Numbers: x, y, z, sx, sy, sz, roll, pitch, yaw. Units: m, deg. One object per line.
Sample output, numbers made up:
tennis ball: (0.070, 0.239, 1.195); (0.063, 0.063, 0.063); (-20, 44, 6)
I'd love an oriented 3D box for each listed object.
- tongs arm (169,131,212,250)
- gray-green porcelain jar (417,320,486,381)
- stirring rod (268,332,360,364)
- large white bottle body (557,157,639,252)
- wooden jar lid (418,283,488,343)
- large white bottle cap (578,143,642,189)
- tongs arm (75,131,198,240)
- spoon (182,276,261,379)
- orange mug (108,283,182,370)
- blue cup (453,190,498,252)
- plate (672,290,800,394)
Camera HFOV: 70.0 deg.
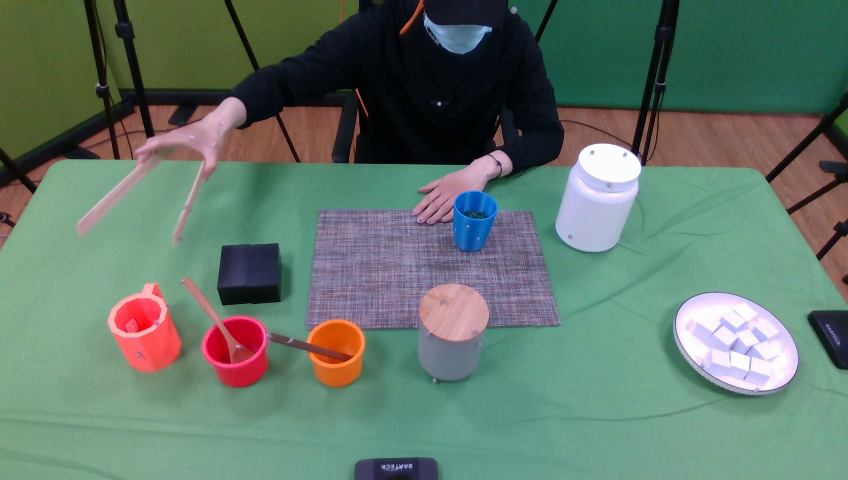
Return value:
tongs arm: (-0.429, -0.103, 1.095); (0.051, 0.026, 0.382); (3, 34, -7)
gray-green porcelain jar: (0.042, 0.158, 0.975); (0.106, 0.127, 0.105); (2, 46, -2)
stirring rod: (-0.167, 0.169, 0.942); (0.177, 0.006, 0.014); (26, 27, -41)
large white bottle body: (0.340, -0.081, 1.185); (0.131, 0.185, 0.130); (2, 46, -1)
wooden jar lid: (0.044, 0.114, 0.931); (0.108, 0.021, 0.107); (2, 49, -2)
large white bottle cap: (0.344, -0.139, 1.123); (0.115, 0.018, 0.114); (2, 47, -2)
tongs arm: (-0.505, -0.112, 1.088); (0.028, 0.028, 0.385); (7, 33, 5)
spoon: (-0.321, 0.137, 0.957); (0.041, 0.021, 0.194); (-36, 102, -33)
orange mug: (-0.445, 0.134, 0.983); (0.083, 0.101, 0.125); (-1, 50, -5)
blue cup: (0.093, -0.032, 1.173); (0.093, 0.101, 0.092); (3, 45, -3)
plate: (0.533, 0.178, 1.050); (0.208, 0.039, 0.206); (2, 46, -2)
